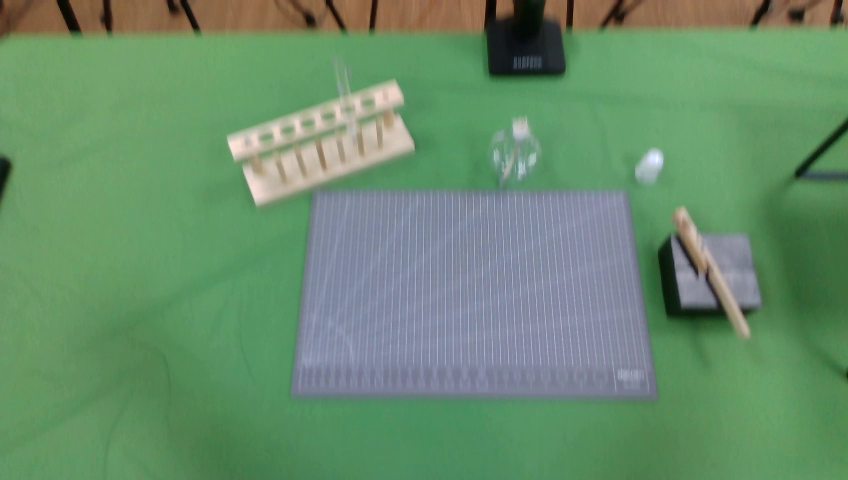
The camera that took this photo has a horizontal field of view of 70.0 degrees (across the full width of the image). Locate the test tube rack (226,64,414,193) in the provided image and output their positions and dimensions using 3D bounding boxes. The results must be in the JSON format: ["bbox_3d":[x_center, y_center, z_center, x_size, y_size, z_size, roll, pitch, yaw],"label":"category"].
[{"bbox_3d":[-0.139,-0.155,0.844,0.242,0.086,0.066,-22,68,-9],"label":"test tube rack"}]

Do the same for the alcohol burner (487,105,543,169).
[{"bbox_3d":[0.126,-0.148,0.826,0.078,0.120,0.077,0,68,0],"label":"alcohol burner"}]

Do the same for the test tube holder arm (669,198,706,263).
[{"bbox_3d":[0.336,-0.012,0.766,0.010,0.015,0.087,-16,69,-10],"label":"test tube holder arm"}]

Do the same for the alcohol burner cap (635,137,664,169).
[{"bbox_3d":[0.320,-0.124,0.855,0.034,0.048,0.033,-1,66,2],"label":"alcohol burner cap"}]

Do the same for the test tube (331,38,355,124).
[{"bbox_3d":[-0.106,-0.208,0.813,0.017,0.151,0.017,0,61,1],"label":"test tube"}]

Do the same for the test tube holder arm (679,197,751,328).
[{"bbox_3d":[0.356,0.026,0.752,0.013,0.015,0.177,-18,69,-10],"label":"test tube holder arm"}]
